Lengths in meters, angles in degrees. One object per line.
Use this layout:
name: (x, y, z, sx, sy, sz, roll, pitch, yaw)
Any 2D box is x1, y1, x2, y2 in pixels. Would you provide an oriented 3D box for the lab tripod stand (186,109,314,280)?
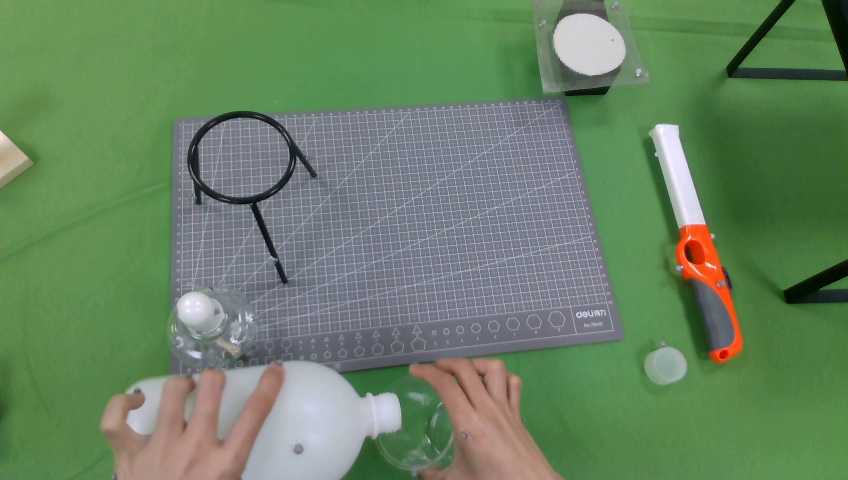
lab tripod stand: (-0.160, -0.047, 0.576, 0.149, 0.132, 0.147, 3, 69, -7)

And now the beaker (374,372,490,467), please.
beaker: (0.009, 0.159, 0.528, 0.083, 0.101, 0.073, 5, 73, 28)

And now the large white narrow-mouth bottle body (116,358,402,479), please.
large white narrow-mouth bottle body: (-0.113, 0.140, 0.448, 0.195, 0.102, 0.101, -4, 68, -18)

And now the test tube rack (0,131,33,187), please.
test tube rack: (-0.511, -0.037, 0.564, 0.066, 0.085, 0.242, 41, 70, 10)

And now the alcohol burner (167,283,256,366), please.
alcohol burner: (-0.192, 0.071, 0.538, 0.078, 0.120, 0.077, 3, 67, -6)

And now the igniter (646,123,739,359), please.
igniter: (0.294, -0.007, 0.667, 0.057, 0.025, 0.274, -1, 69, -17)

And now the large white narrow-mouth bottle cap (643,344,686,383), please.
large white narrow-mouth bottle cap: (0.244, 0.125, 0.616, 0.038, 0.024, 0.037, 2, 68, -4)

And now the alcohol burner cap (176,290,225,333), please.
alcohol burner cap: (-0.188, 0.058, 0.504, 0.034, 0.048, 0.033, 1, 74, -5)

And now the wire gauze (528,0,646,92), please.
wire gauze: (0.186, -0.228, 0.700, 0.122, 0.011, 0.124, -3, 70, -7)
